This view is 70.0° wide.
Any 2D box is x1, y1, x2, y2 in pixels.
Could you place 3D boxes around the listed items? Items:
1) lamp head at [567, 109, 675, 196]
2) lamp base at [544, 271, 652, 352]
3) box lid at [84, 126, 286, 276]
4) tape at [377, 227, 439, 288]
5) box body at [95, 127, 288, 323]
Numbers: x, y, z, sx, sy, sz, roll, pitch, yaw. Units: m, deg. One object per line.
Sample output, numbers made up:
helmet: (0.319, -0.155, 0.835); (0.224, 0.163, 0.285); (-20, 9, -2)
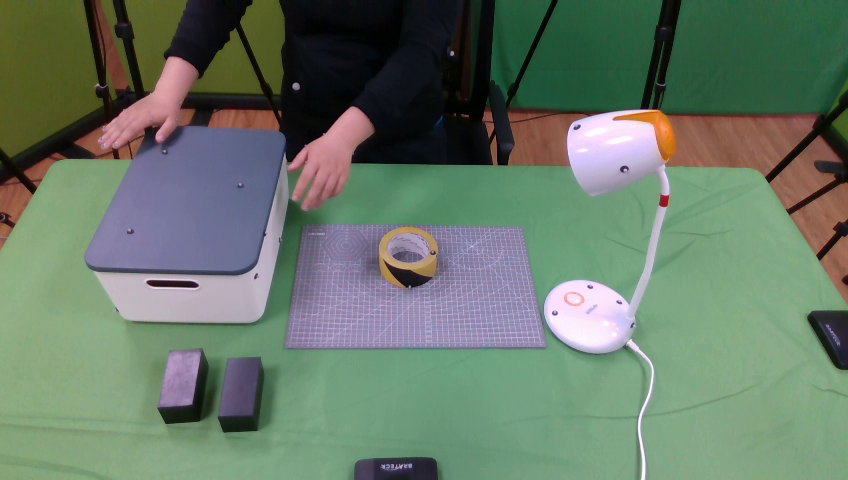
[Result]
lamp head: (0.272, -0.123, 0.818); (0.122, 0.113, 0.112); (-9, 35, 37)
lamp base: (0.310, 0.086, 1.029); (0.178, 0.181, 0.160); (32, 52, 21)
box lid: (-0.393, -0.081, 1.046); (0.263, 0.015, 0.369); (2, 46, -3)
tape: (-0.031, 0.032, 1.140); (0.117, 0.053, 0.116); (2, 46, -2)
box body: (-0.396, -0.031, 1.100); (0.254, 0.161, 0.361); (1, 46, -3)
